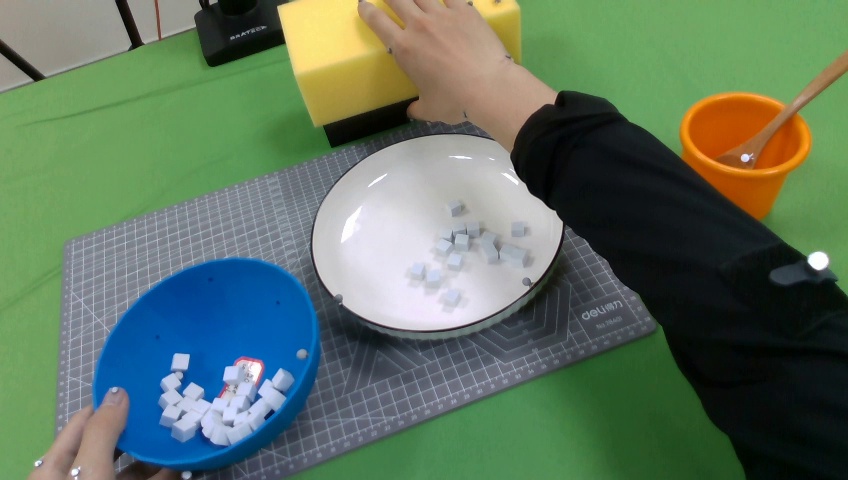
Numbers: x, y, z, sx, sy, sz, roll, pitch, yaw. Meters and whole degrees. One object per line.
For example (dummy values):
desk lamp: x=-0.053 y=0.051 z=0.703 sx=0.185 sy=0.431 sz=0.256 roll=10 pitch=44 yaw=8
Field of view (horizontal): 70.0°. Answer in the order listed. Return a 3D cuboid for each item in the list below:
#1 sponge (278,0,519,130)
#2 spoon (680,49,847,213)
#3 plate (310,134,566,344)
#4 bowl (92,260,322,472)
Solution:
sponge: x=-0.025 y=-0.192 z=0.581 sx=0.207 sy=0.061 sz=0.117 roll=-18 pitch=52 yaw=-5
spoon: x=0.275 y=-0.093 z=0.459 sx=0.022 sy=0.194 sz=0.041 roll=8 pitch=42 yaw=-43
plate: x=0.011 y=-0.003 z=0.502 sx=0.209 sy=0.038 sz=0.207 roll=-5 pitch=53 yaw=6
bowl: x=-0.137 y=0.096 z=0.426 sx=0.151 sy=0.077 sz=0.150 roll=-5 pitch=52 yaw=6
